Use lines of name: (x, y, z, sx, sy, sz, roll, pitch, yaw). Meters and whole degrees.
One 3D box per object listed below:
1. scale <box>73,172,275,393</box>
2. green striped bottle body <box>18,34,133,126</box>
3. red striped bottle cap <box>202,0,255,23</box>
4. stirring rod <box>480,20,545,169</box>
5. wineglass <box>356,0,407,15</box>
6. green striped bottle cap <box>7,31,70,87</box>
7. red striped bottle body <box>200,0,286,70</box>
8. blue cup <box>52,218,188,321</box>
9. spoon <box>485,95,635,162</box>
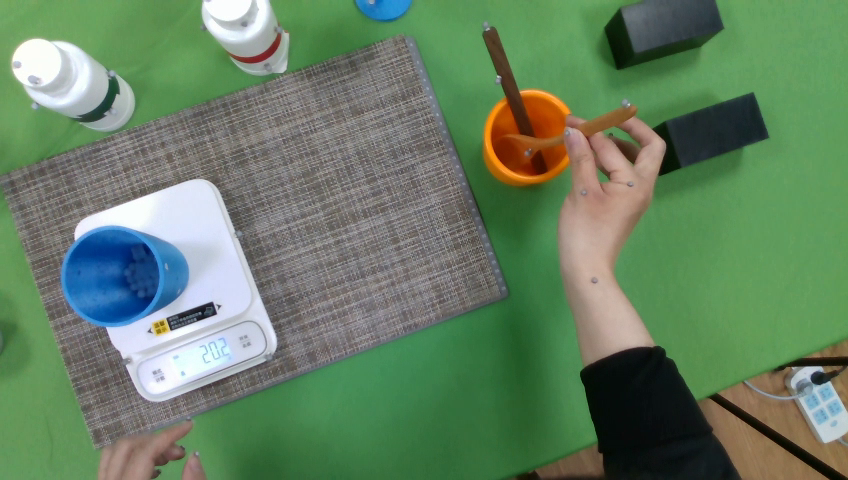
scale: (-0.252, 0.044, 0.616, 0.149, 0.031, 0.201, -21, 90, -3)
green striped bottle body: (-0.334, -0.153, 0.578, 0.063, 0.119, 0.063, 0, 88, -3)
red striped bottle cap: (-0.173, -0.216, 0.534, 0.044, 0.018, 0.044, 0, 86, -2)
stirring rod: (0.089, -0.135, 0.589, 0.014, 0.005, 0.178, -34, 132, -2)
wineglass: (-0.044, -0.279, 0.569, 0.074, 0.172, 0.073, 0, 88, -2)
green striped bottle cap: (-0.332, -0.156, 0.522, 0.044, 0.020, 0.044, 0, 88, -1)
red striped bottle body: (-0.175, -0.214, 0.588, 0.063, 0.119, 0.063, 0, 87, -3)
blue cup: (-0.261, 0.025, 0.551, 0.093, 0.100, 0.092, 0, 90, -3)
spoon: (0.118, -0.100, 0.560, 0.042, 0.193, 0.021, 45, 70, -19)
